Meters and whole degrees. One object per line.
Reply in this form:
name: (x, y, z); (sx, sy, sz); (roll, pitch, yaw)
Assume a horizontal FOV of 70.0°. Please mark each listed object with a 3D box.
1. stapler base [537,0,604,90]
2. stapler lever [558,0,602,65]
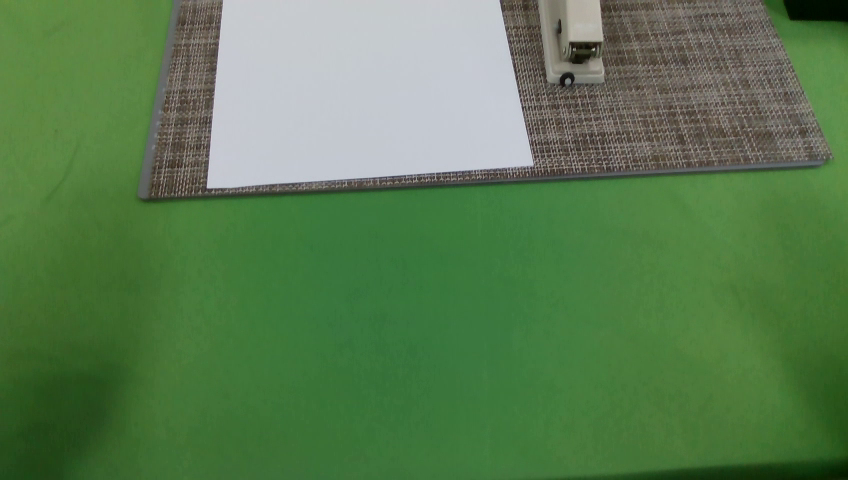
stapler base: (0.108, -0.169, 0.453); (0.041, 0.024, 0.129); (-1, 63, 2)
stapler lever: (0.108, -0.179, 0.430); (0.027, 0.040, 0.117); (-1, 63, 2)
